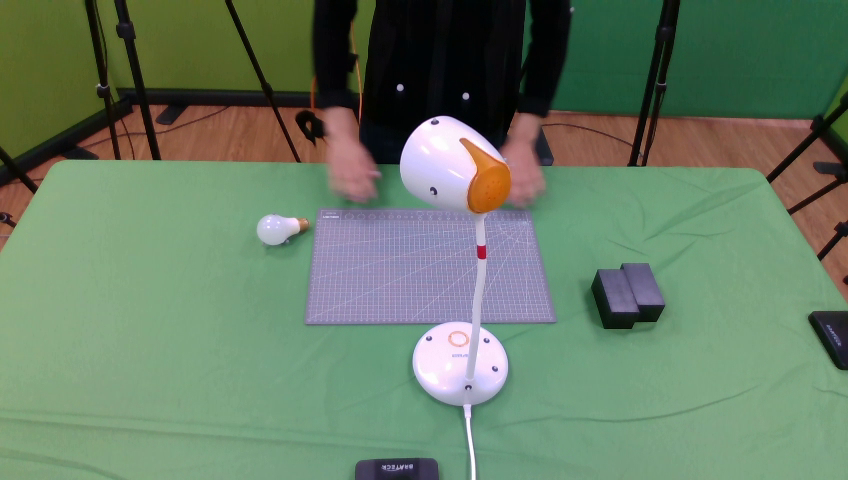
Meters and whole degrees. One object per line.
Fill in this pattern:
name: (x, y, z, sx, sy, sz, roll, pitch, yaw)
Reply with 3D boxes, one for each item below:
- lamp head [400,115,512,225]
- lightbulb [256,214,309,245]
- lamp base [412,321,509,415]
lamp head: (0.047, -0.077, 0.729, 0.112, 0.113, 0.122, -25, 43, -25)
lightbulb: (-0.274, -0.025, 1.184, 0.108, 0.060, 0.059, -14, 46, -38)
lamp base: (0.067, 0.158, 0.943, 0.161, 0.181, 0.178, -6, 50, -10)
